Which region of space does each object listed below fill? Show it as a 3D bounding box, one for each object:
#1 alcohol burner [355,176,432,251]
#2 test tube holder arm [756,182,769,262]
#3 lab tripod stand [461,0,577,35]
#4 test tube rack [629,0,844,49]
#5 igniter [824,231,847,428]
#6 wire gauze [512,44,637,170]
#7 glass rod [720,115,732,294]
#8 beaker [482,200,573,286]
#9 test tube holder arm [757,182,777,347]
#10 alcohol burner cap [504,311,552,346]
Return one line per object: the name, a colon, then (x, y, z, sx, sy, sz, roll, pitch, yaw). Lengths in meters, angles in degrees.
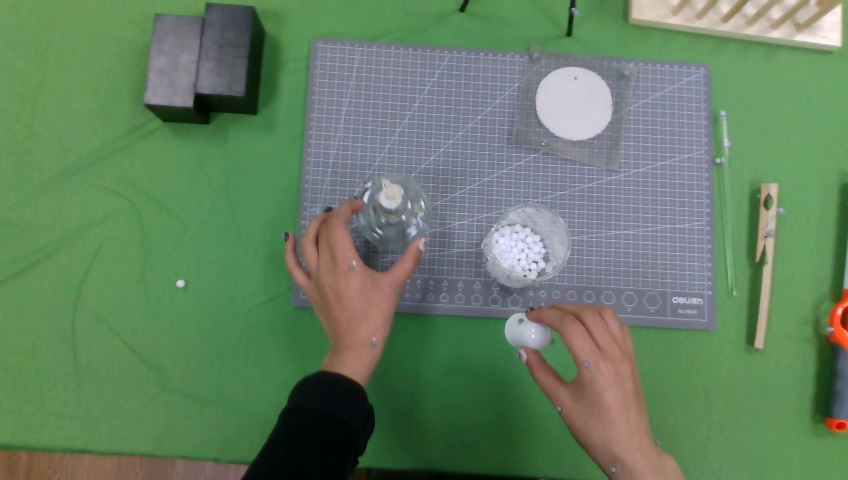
alcohol burner: (-0.032, -0.030, 0.596, 0.078, 0.119, 0.077, 0, 81, 1)
test tube holder arm: (0.369, -0.019, 0.660, 0.010, 0.015, 0.087, 2, 80, 35)
lab tripod stand: (0.114, -0.292, 0.632, 0.148, 0.132, 0.148, 0, 83, -1)
test tube rack: (0.360, -0.273, 0.661, 0.242, 0.085, 0.066, 7, 81, -1)
igniter: (0.460, 0.063, 0.645, 0.057, 0.025, 0.275, 13, 82, -10)
wire gauze: (0.168, -0.151, 0.674, 0.125, 0.011, 0.121, 15, 83, 0)
glass rod: (0.332, -0.041, 0.665, 0.008, 0.008, 0.199, 1, 84, -2)
beaker: (0.095, 0.008, 0.602, 0.084, 0.100, 0.073, -4, 81, -2)
test tube holder arm: (0.369, 0.025, 0.650, 0.013, 0.015, 0.178, 1, 80, 34)
alcohol burner cap: (0.095, 0.079, 0.540, 0.034, 0.048, 0.034, 2, 83, -16)
